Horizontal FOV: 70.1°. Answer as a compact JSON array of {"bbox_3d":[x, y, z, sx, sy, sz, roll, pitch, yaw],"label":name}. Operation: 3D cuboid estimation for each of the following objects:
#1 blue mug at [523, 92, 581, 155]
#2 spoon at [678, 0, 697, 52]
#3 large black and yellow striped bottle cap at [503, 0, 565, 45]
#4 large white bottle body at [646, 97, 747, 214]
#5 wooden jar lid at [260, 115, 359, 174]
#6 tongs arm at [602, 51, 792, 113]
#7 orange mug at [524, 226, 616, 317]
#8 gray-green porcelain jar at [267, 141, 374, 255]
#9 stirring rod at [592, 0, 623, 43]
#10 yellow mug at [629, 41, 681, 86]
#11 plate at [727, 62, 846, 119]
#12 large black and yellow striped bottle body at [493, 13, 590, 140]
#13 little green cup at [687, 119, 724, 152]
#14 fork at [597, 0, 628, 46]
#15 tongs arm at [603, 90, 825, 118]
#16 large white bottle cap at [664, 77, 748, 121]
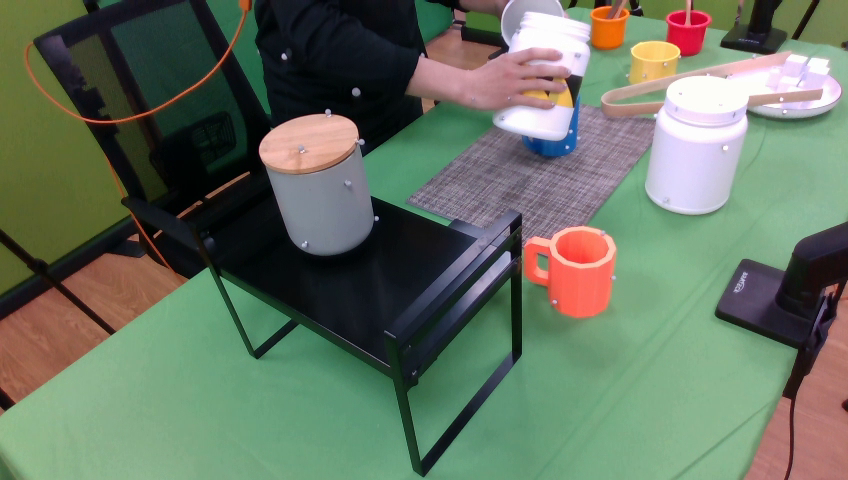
[{"bbox_3d":[0.233,-0.219,1.127,0.117,0.106,0.081,-22,43,-17],"label":"blue mug"},{"bbox_3d":[0.614,-0.526,1.402,0.041,0.022,0.193,3,86,11],"label":"spoon"},{"bbox_3d":[0.203,-0.401,1.118,0.115,0.115,0.018,-2,42,7],"label":"large black and yellow striped bottle cap"},{"bbox_3d":[0.430,-0.148,0.959,0.130,0.185,0.130,-4,41,4],"label":"large white bottle body"},{"bbox_3d":[-0.124,-0.101,0.662,0.108,0.021,0.108,-4,41,4],"label":"wooden jar lid"},{"bbox_3d":[0.552,-0.319,1.224,0.384,0.027,0.050,-10,44,7],"label":"tongs arm"},{"bbox_3d":[0.201,0.038,0.845,0.125,0.101,0.083,18,47,21],"label":"orange mug"},{"bbox_3d":[-0.116,-0.054,0.703,0.106,0.127,0.105,-4,40,4],"label":"gray-green porcelain jar"},{"bbox_3d":[0.460,-0.557,1.461,0.014,0.176,0.006,35,11,22],"label":"stirring rod"},{"bbox_3d":[0.495,-0.389,1.321,0.100,0.064,0.130,-14,40,-6],"label":"yellow mug"},{"bbox_3d":[0.709,-0.292,1.197,0.207,0.039,0.206,-4,40,4],"label":"plate"},{"bbox_3d":[0.196,-0.269,1.001,0.131,0.184,0.130,11,19,-3],"label":"large black and yellow striped bottle body"},{"bbox_3d":[0.514,-0.191,1.109,0.061,0.039,0.061,-5,40,5],"label":"little green cup"},{"bbox_3d":[0.479,-0.558,1.455,0.028,0.019,0.207,35,100,38],"label":"fork"},{"bbox_3d":[0.546,-0.262,1.163,0.386,0.028,0.028,-1,49,18],"label":"tongs arm"},{"bbox_3d":[0.421,-0.212,0.905,0.115,0.018,0.114,-4,40,4],"label":"large white bottle cap"}]
